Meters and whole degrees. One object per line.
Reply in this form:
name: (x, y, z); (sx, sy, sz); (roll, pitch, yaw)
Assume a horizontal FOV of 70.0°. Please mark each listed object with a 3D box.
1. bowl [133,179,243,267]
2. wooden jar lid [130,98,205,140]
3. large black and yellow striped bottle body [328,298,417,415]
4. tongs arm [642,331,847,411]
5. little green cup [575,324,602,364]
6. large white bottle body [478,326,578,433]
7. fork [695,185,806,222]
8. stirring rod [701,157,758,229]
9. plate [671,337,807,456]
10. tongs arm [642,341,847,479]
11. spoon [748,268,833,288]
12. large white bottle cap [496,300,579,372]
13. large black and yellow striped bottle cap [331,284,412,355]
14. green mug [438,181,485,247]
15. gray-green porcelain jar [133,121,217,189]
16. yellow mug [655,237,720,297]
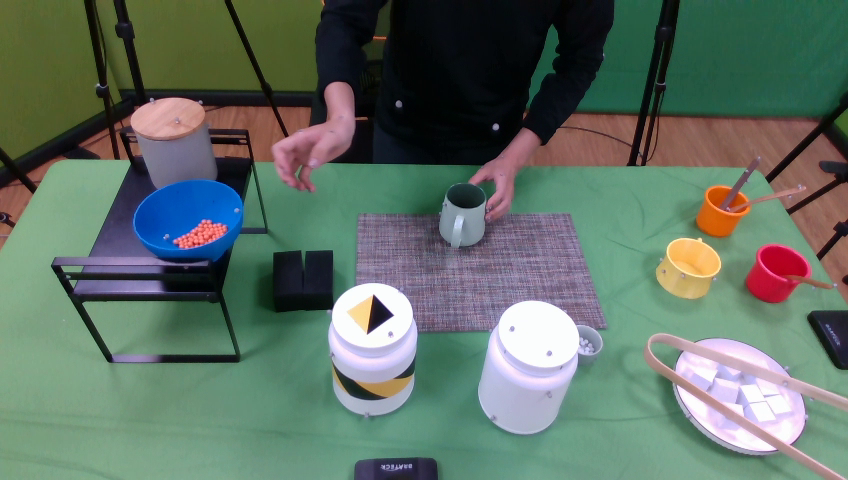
bowl: (-0.339, -0.013, 0.895); (0.151, 0.077, 0.150); (2, 46, -2)
wooden jar lid: (-0.393, -0.183, 0.934); (0.108, 0.021, 0.107); (2, 44, -2)
large black and yellow striped bottle body: (-0.078, 0.167, 0.920); (0.131, 0.185, 0.130); (2, 46, -2)
tongs arm: (0.546, 0.227, 0.968); (0.384, 0.026, 0.050); (22, 52, 13)
little green cup: (0.269, 0.179, 1.035); (0.061, 0.039, 0.061); (2, 45, -2)
large white bottle body: (0.156, 0.192, 0.913); (0.131, 0.185, 0.130); (2, 46, -2)
fork: (0.658, -0.074, 1.230); (0.207, 0.019, 0.028); (-23, 36, 37)
stirring rod: (0.634, -0.097, 1.257); (0.014, 0.006, 0.176); (38, 97, 30)
plate: (0.503, 0.254, 0.984); (0.208, 0.039, 0.206); (2, 46, -2)
tongs arm: (0.504, 0.278, 0.918); (0.386, 0.028, 0.028); (34, 59, 22)
spoon: (0.660, 0.068, 1.098); (0.041, 0.193, 0.021); (-4, 91, -6)
large white bottle cap: (0.160, 0.133, 0.852); (0.115, 0.018, 0.114); (3, 46, -2)
large black and yellow striped bottle cap: (-0.073, 0.110, 0.858); (0.115, 0.019, 0.114); (2, 46, -2)
green mug: (0.072, -0.040, 1.177); (0.092, 0.105, 0.124); (12, 47, 7)
gray-green porcelain jar: (-0.397, -0.141, 0.980); (0.106, 0.127, 0.105); (2, 47, -2)
yellow mug: (0.509, 0.041, 1.167); (0.099, 0.064, 0.130); (24, 48, 18)
